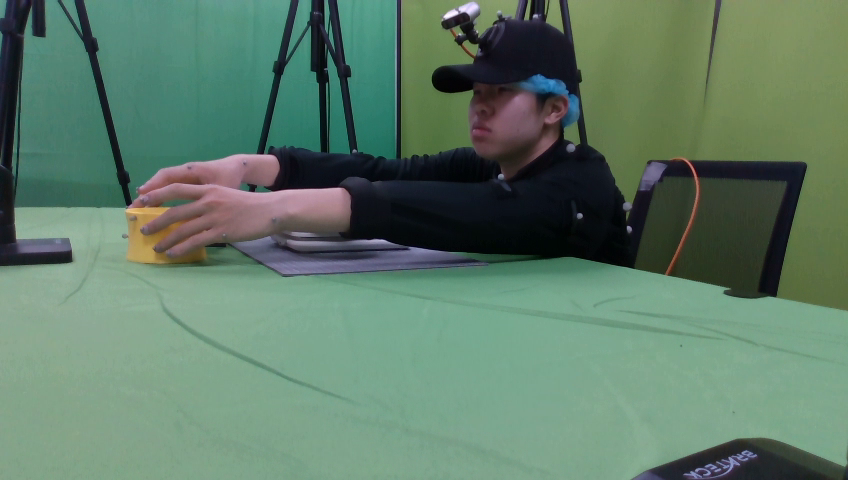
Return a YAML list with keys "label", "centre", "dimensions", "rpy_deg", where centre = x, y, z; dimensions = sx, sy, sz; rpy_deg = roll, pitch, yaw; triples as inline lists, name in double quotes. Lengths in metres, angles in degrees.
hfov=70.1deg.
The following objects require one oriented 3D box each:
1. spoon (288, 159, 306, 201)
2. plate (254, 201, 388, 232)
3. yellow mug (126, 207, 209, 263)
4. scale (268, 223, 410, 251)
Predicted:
- label: "spoon"
  centre: [-0.260, -0.103, 1.268]
  dimensions: [0.042, 0.193, 0.021]
  rpy_deg: [3, -39, -33]
- label: "plate"
  centre: [-0.162, -0.038, 0.961]
  dimensions: [0.209, 0.038, 0.209]
  rpy_deg: [3, 6, 0]
- label: "yellow mug"
  centre: [-0.339, -0.010, 0.827]
  dimensions: [0.100, 0.064, 0.131]
  rpy_deg: [4, 7, 17]
- label: "scale"
  centre: [-0.137, -0.007, 0.979]
  dimensions: [0.202, 0.031, 0.148]
  rpy_deg: [-1, 8, -30]
